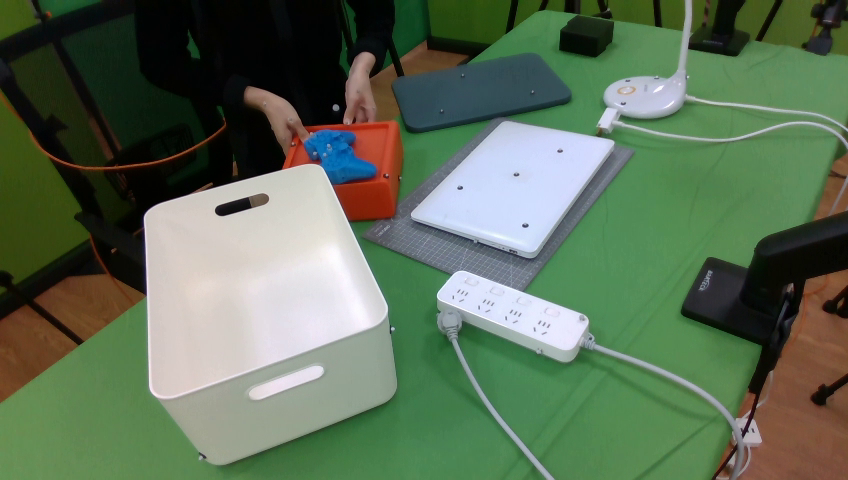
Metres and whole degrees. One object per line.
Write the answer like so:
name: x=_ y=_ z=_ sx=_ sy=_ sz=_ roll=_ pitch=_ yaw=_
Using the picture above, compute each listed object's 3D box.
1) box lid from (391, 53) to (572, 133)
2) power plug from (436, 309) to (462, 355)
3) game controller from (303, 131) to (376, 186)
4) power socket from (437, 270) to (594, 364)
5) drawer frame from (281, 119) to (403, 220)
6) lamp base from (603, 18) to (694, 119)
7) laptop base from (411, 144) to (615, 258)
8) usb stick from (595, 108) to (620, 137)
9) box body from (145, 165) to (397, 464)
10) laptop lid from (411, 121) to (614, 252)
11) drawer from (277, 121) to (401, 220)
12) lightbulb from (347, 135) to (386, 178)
box lid: x=0.122 y=-0.339 z=1.366 sx=0.372 sy=0.015 sz=0.261 roll=-12 pitch=40 yaw=-5
power plug: x=0.032 y=0.126 z=0.810 sx=0.035 sy=0.053 sz=0.072 roll=3 pitch=59 yaw=7
game controller: x=-0.150 y=-0.149 z=1.044 sx=0.097 sy=0.052 sz=0.154 roll=-22 pitch=41 yaw=-10
power socket: x=0.118 y=0.102 z=0.830 sx=0.225 sy=0.033 sz=0.072 roll=20 pitch=48 yaw=28
drawer frame: x=-0.146 y=-0.129 z=1.099 sx=0.201 sy=0.083 sz=0.212 roll=-3 pitch=41 yaw=5
lamp base: x=0.460 y=-0.355 z=1.204 sx=0.179 sy=0.181 sz=0.160 roll=2 pitch=41 yaw=7
laptop base: x=0.167 y=-0.102 z=1.074 sx=0.234 sy=0.023 sz=0.355 roll=16 pitch=45 yaw=30
usb stick: x=0.355 y=-0.225 z=1.175 sx=0.027 sy=0.022 sz=0.059 roll=29 pitch=85 yaw=41
box body: x=-0.205 y=0.080 z=0.802 sx=0.255 sy=0.161 sz=0.361 roll=-18 pitch=41 yaw=-13
laptop lid: x=0.164 y=-0.112 z=1.068 sx=0.240 sy=0.013 sz=0.357 roll=19 pitch=46 yaw=30
drawer: x=-0.146 y=-0.129 z=1.100 sx=0.194 sy=0.073 sz=0.211 roll=-2 pitch=41 yaw=4
lightbulb: x=-0.104 y=-0.154 z=1.134 sx=0.060 sy=0.060 sz=0.107 roll=-25 pitch=56 yaw=-21
